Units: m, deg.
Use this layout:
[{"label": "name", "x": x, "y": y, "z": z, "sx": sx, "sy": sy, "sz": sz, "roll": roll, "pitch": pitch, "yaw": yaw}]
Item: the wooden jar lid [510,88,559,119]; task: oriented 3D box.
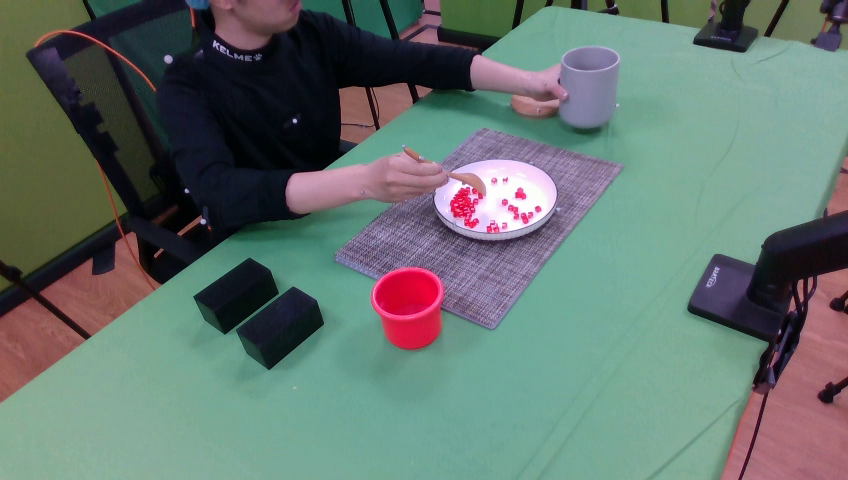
[{"label": "wooden jar lid", "x": 0.237, "y": -0.286, "z": 1.271, "sx": 0.108, "sy": 0.021, "sz": 0.108, "roll": -5, "pitch": 42, "yaw": 5}]

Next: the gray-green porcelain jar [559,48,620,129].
[{"label": "gray-green porcelain jar", "x": 0.310, "y": -0.283, "z": 1.145, "sx": 0.106, "sy": 0.127, "sz": 0.105, "roll": -4, "pitch": 42, "yaw": 4}]

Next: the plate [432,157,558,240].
[{"label": "plate", "x": 0.118, "y": -0.067, "z": 1.013, "sx": 0.207, "sy": 0.039, "sz": 0.206, "roll": -4, "pitch": 41, "yaw": 4}]

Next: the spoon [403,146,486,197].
[{"label": "spoon", "x": 0.036, "y": -0.105, "z": 0.932, "sx": 0.195, "sy": 0.021, "sz": 0.041, "roll": 16, "pitch": 43, "yaw": -43}]
